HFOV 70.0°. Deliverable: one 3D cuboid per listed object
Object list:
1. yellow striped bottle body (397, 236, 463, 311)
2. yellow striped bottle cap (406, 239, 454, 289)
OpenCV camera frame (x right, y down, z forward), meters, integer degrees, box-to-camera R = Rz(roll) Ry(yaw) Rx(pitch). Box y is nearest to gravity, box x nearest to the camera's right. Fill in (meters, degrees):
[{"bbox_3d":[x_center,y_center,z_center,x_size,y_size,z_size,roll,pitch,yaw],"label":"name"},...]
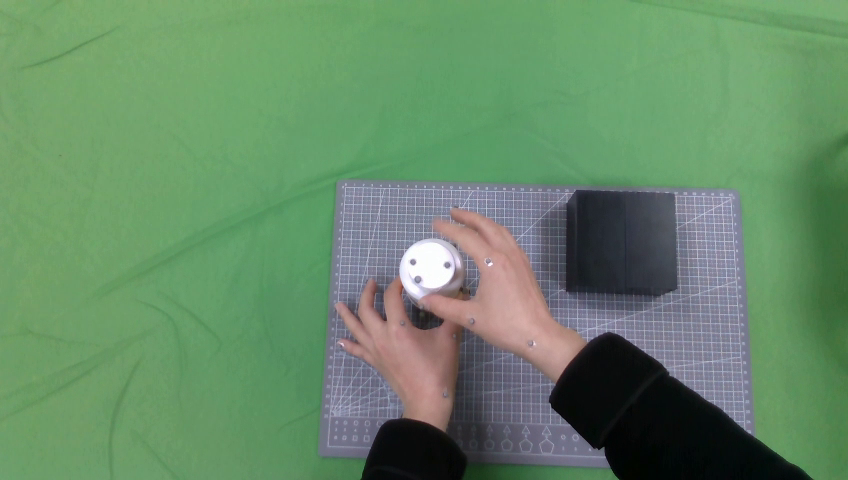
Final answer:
[{"bbox_3d":[0.007,0.034,0.603,0.063,0.121,0.062,0,78,2],"label":"yellow striped bottle body"},{"bbox_3d":[0.006,0.022,0.552,0.044,0.019,0.044,0,80,2],"label":"yellow striped bottle cap"}]
